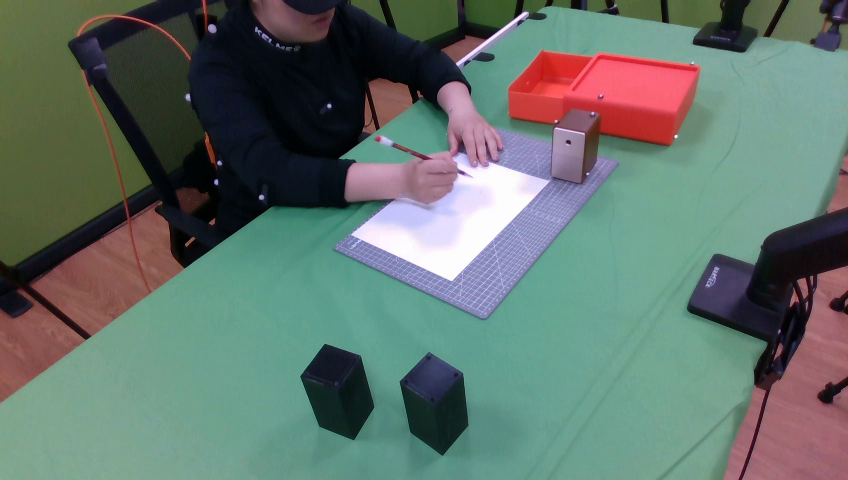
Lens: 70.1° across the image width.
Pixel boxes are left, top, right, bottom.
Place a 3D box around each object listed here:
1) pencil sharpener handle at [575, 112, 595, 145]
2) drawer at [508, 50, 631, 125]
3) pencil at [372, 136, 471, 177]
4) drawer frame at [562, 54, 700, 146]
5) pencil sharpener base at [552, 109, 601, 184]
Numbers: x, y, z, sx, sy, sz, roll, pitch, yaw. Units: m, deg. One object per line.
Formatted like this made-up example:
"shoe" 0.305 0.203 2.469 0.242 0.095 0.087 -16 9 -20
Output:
"pencil sharpener handle" 0.290 -0.203 1.077 0.036 0.068 0.031 19 47 26
"drawer" 0.305 -0.310 1.246 0.210 0.073 0.195 16 45 25
"pencil" 0.001 -0.132 0.976 0.196 0.012 0.012 17 29 -31
"drawer frame" 0.407 -0.282 1.195 0.212 0.083 0.202 17 45 25
"pencil sharpener base" 0.265 -0.163 1.053 0.061 0.107 0.077 17 46 27
